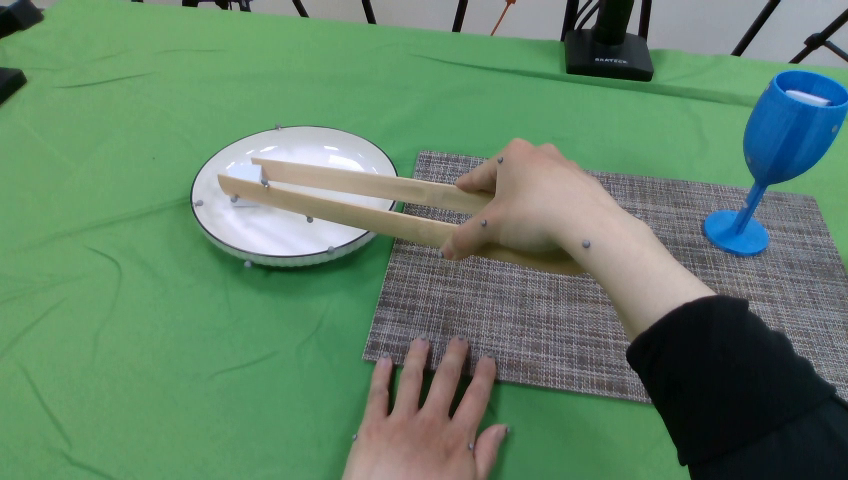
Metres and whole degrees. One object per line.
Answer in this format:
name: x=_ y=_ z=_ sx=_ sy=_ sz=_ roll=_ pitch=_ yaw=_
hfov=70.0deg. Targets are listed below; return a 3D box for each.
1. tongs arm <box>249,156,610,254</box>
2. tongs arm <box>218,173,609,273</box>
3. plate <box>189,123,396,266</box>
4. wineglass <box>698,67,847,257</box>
tongs arm: x=-0.022 y=-0.040 z=0.541 sx=0.385 sy=0.028 sz=0.028 roll=13 pitch=32 yaw=31
tongs arm: x=-0.036 y=-0.027 z=0.521 sx=0.382 sy=0.027 sz=0.050 roll=15 pitch=36 yaw=33
plate: x=-0.132 y=-0.047 z=0.629 sx=0.209 sy=0.038 sz=0.207 roll=2 pitch=45 yaw=-1
wineglass: x=0.322 y=-0.070 z=0.573 sx=0.074 sy=0.174 sz=0.073 roll=1 pitch=45 yaw=-1
